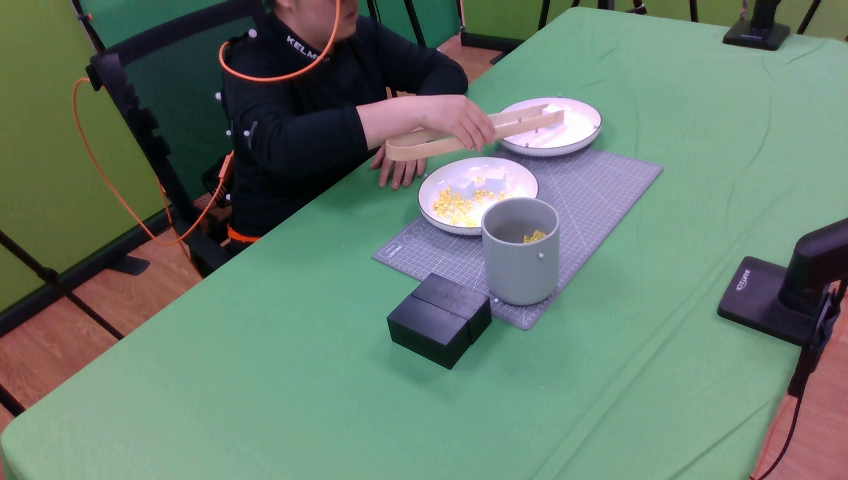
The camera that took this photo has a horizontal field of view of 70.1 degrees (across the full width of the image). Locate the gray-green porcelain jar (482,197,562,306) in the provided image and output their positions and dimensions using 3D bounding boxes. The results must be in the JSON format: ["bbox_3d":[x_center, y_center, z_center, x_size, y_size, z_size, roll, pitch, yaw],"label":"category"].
[{"bbox_3d":[0.138,0.020,0.846,0.106,0.127,0.105,-5,40,5],"label":"gray-green porcelain jar"}]

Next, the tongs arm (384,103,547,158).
[{"bbox_3d":[0.088,-0.210,1.125,0.390,0.028,0.028,-19,40,-29],"label":"tongs arm"}]

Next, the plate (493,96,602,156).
[{"bbox_3d":[0.238,-0.218,1.179,0.209,0.038,0.208,-4,39,4],"label":"plate"}]

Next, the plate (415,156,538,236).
[{"bbox_3d":[0.090,-0.072,1.034,0.207,0.039,0.206,-5,40,5],"label":"plate"}]

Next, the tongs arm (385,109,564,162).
[{"bbox_3d":[0.104,-0.197,1.103,0.387,0.026,0.050,-20,37,-31],"label":"tongs arm"}]
